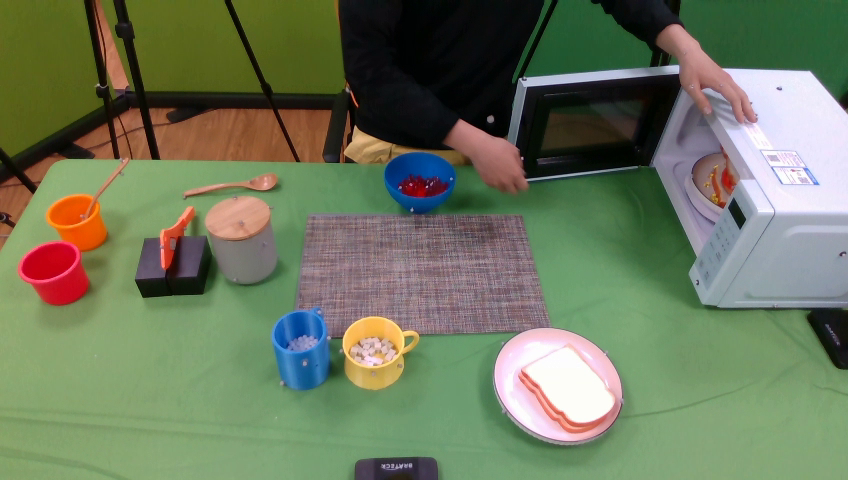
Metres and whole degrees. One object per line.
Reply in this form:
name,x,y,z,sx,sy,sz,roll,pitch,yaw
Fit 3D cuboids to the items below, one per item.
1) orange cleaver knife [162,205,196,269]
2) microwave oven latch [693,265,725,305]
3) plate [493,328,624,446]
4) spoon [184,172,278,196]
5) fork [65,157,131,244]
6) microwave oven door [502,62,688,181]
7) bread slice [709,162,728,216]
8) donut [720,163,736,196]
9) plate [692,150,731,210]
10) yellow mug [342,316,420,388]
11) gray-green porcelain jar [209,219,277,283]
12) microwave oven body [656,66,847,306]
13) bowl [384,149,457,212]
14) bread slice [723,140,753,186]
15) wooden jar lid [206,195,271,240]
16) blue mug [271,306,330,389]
orange cleaver knife,-0.454,-0.010,1.129,0.012,0.077,0.210,-2,20,-5
microwave oven latch,0.523,0.082,1.116,0.030,0.029,0.078,2,46,-1
plate,0.213,0.236,0.974,0.208,0.039,0.206,2,46,-2
spoon,-0.405,-0.116,1.275,0.194,0.022,0.041,-8,65,-12
fork,-0.609,-0.074,1.133,0.207,0.019,0.028,-52,50,10
microwave oven door,0.353,-0.247,1.276,0.356,0.245,0.039,-8,48,-11
bread slice,0.651,-0.105,1.260,0.105,0.019,0.131,10,66,7
donut,0.647,-0.120,1.216,0.099,0.048,0.098,-3,58,5
plate,0.655,-0.109,1.238,0.209,0.038,0.208,0,45,0
yellow mug,-0.068,0.177,0.990,0.131,0.064,0.099,-15,50,-19
gray-green porcelain jar,-0.323,0.007,1.092,0.106,0.127,0.105,2,46,-2
microwave oven body,0.669,-0.111,1.176,0.326,0.261,0.439,0,46,-3
bowl,-0.009,-0.112,1.262,0.151,0.077,0.150,2,46,-2
bread slice,0.659,-0.146,1.200,0.107,0.018,0.133,1,54,8
wooden jar lid,-0.319,-0.036,1.046,0.108,0.021,0.107,1,44,0
blue mug,-0.188,0.163,0.969,0.082,0.106,0.116,15,47,10
